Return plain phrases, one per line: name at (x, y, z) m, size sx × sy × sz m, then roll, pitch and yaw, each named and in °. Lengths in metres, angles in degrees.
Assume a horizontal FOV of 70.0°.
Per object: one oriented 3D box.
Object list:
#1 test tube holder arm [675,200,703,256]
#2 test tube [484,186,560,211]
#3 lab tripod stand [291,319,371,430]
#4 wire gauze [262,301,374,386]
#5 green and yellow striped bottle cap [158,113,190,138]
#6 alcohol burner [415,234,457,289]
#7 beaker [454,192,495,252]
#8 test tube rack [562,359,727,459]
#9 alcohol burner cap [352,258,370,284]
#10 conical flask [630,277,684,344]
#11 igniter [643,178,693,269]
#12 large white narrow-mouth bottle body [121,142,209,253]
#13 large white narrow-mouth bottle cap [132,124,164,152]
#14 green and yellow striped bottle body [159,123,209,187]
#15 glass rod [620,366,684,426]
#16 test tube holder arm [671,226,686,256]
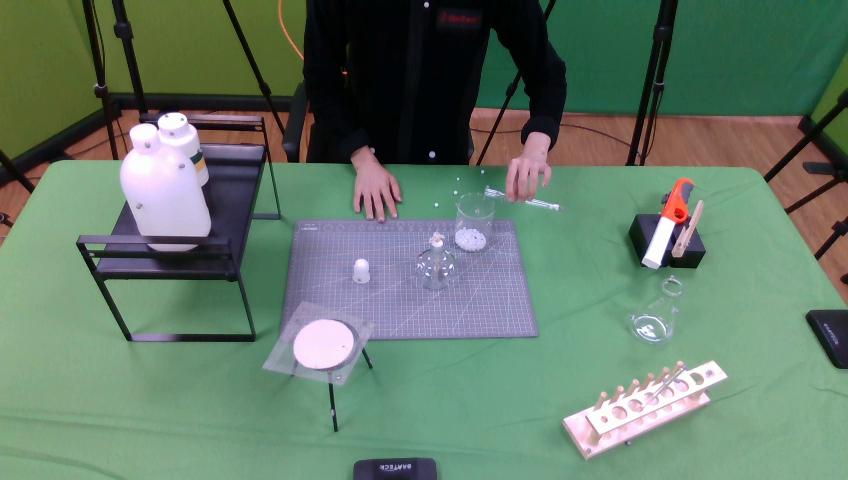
test tube holder arm at (0.523, -0.025, 1.190) m, size 0.013 × 0.015 × 0.178 m, roll 1°, pitch 36°, yaw 41°
test tube at (0.183, -0.076, 1.126) m, size 0.150 × 0.017 × 0.017 m, roll 12°, pitch 45°, yaw -10°
lab tripod stand at (-0.146, 0.193, 0.923) m, size 0.148 × 0.132 × 0.147 m, roll 1°, pitch 47°, yaw -1°
wire gauze at (-0.150, 0.148, 0.873) m, size 0.121 × 0.011 × 0.124 m, roll 14°, pitch 46°, yaw 12°
green and yellow striped bottle cap at (-0.393, -0.180, 0.951) m, size 0.045 × 0.020 × 0.045 m, roll 2°, pitch 44°, yaw -2°
alcohol burner at (0.022, 0.033, 1.100) m, size 0.078 × 0.120 × 0.077 m, roll 1°, pitch 47°, yaw -1°
beaker at (0.097, -0.034, 1.180) m, size 0.074 × 0.101 × 0.084 m, roll 23°, pitch 49°, yaw 17°
test tube rack at (0.341, 0.247, 0.940) m, size 0.243 × 0.085 × 0.066 m, roll -16°, pitch 49°, yaw -18°
alcohol burner cap at (-0.117, 0.055, 1.118) m, size 0.034 × 0.048 × 0.033 m, roll 2°, pitch 46°, yaw -1°
conical flask at (0.408, 0.117, 1.045) m, size 0.075 × 0.122 × 0.075 m, roll 2°, pitch 46°, yaw -2°
igniter at (0.488, -0.042, 1.205) m, size 0.057 × 0.025 × 0.276 m, roll 30°, pitch 51°, yaw 11°
large white narrow-mouth bottle body at (-0.378, -0.077, 0.875) m, size 0.102 × 0.195 × 0.101 m, roll 3°, pitch 46°, yaw -3°
large white narrow-mouth bottle cap at (-0.370, -0.138, 0.812) m, size 0.038 × 0.024 × 0.037 m, roll 3°, pitch 46°, yaw -3°
green and yellow striped bottle body at (-0.395, -0.145, 0.989) m, size 0.063 × 0.120 × 0.063 m, roll 2°, pitch 46°, yaw -2°
glass rod at (0.322, 0.227, 0.866) m, size 0.008 × 0.200 × 0.008 m, roll 5°, pitch 51°, yaw -7°
test tube holder arm at (0.494, 0.001, 1.167) m, size 0.010 × 0.015 × 0.087 m, roll 1°, pitch 36°, yaw 42°
